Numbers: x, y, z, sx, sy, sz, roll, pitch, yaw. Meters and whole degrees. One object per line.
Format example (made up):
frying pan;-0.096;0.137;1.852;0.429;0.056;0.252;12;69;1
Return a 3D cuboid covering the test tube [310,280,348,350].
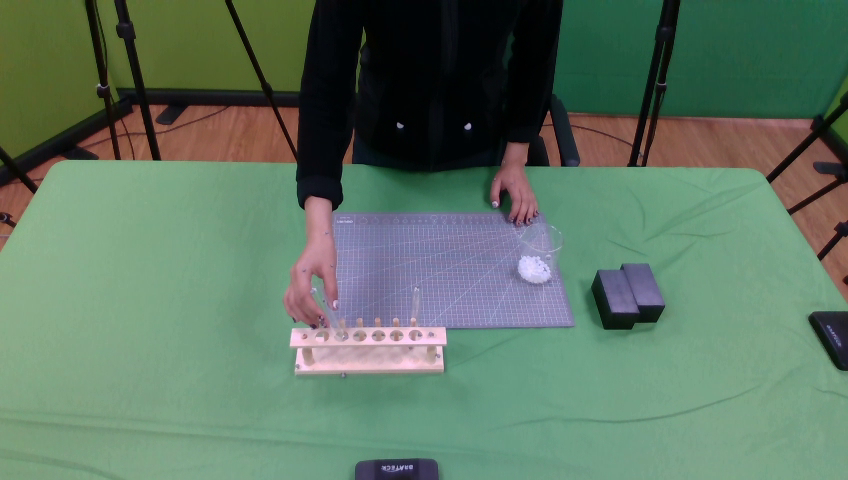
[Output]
test tube;-0.142;0.116;0.915;0.017;0.151;0.017;-9;41;8

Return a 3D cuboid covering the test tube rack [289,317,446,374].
test tube rack;-0.089;0.167;0.987;0.242;0.085;0.066;0;46;-4

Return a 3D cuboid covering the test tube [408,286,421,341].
test tube;-0.016;0.124;0.973;0.017;0.151;0.017;2;46;-2

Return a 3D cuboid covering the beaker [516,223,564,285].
beaker;0.211;0.029;1.131;0.084;0.101;0.073;-1;46;-4
